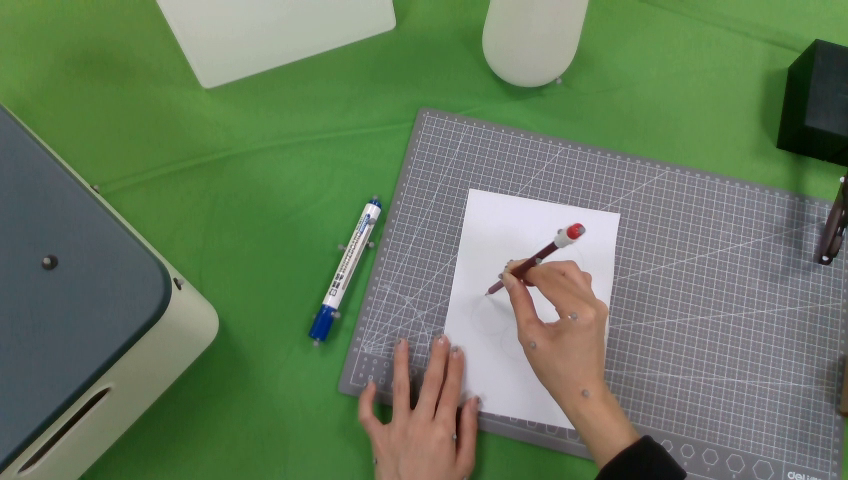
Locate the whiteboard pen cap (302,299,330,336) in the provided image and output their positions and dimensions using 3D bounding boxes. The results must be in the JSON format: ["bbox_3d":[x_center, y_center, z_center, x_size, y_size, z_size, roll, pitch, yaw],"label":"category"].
[{"bbox_3d":[-0.098,0.071,0.558,0.018,0.018,0.033,20,70,6],"label":"whiteboard pen cap"}]

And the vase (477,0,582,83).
[{"bbox_3d":[0.102,-0.233,0.558,0.098,0.201,0.097,0,72,1],"label":"vase"}]

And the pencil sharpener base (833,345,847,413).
[{"bbox_3d":[0.414,0.122,0.506,0.076,0.107,0.061,18,73,1],"label":"pencil sharpener base"}]

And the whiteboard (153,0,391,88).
[{"bbox_3d":[-0.175,-0.335,0.560,0.217,0.308,0.142,-20,55,-6],"label":"whiteboard"}]

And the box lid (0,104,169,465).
[{"bbox_3d":[-0.390,0.005,0.424,0.370,0.015,0.263,40,77,10],"label":"box lid"}]

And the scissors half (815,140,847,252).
[{"bbox_3d":[0.389,-0.070,0.558,0.013,0.040,0.174,17,76,23],"label":"scissors half"}]

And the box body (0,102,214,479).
[{"bbox_3d":[-0.389,0.027,0.495,0.362,0.161,0.254,40,77,10],"label":"box body"}]

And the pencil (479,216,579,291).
[{"bbox_3d":[0.075,0.018,0.484,0.012,0.194,0.012,4,71,-12],"label":"pencil"}]

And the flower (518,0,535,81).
[{"bbox_3d":[0.099,-0.271,0.482,0.044,0.365,0.038,7,56,5],"label":"flower"}]

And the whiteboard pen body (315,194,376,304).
[{"bbox_3d":[-0.078,0.019,0.576,0.017,0.017,0.140,21,73,6],"label":"whiteboard pen body"}]

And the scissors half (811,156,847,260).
[{"bbox_3d":[0.397,-0.066,0.576,0.012,0.040,0.175,16,94,29],"label":"scissors half"}]
